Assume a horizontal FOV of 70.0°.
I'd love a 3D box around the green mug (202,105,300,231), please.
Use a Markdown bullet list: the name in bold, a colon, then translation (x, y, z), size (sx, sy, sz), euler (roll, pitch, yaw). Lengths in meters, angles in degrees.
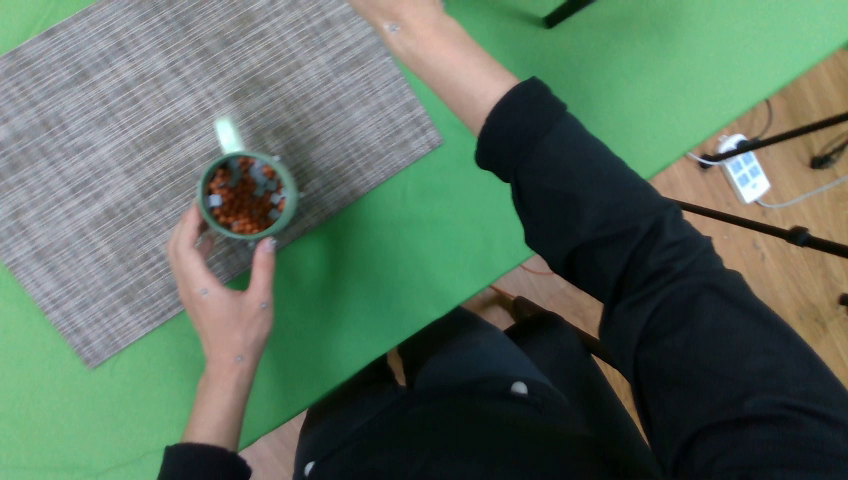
- **green mug**: translation (-0.174, -0.069, 0.594), size (0.092, 0.104, 0.125), euler (-16, 98, -10)
